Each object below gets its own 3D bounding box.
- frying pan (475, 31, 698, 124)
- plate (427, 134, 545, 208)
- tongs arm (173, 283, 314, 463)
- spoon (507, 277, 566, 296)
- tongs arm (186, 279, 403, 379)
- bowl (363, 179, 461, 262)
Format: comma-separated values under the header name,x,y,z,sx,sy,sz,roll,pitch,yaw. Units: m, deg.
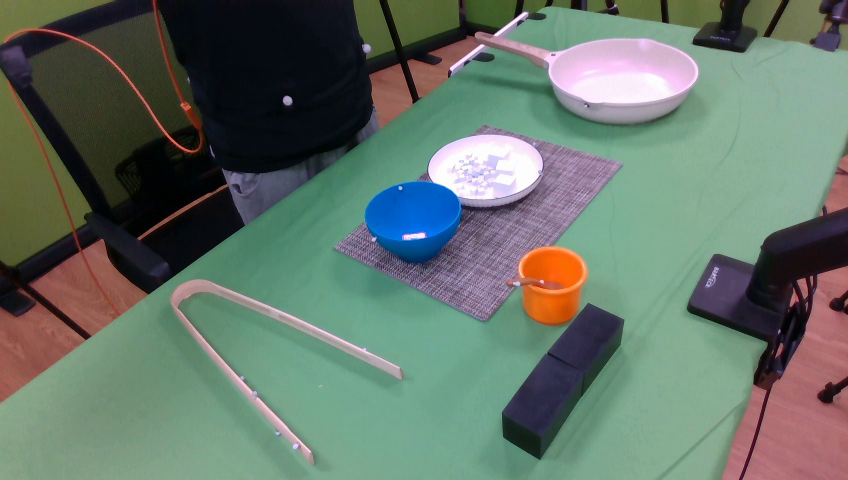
name,x,y,z,sx,sy,sz,roll,pitch,yaw
frying pan,0.320,-0.371,1.290,0.485,0.103,0.307,28,50,23
plate,0.110,-0.119,1.073,0.207,0.039,0.206,-4,41,4
tongs arm,-0.246,0.161,0.806,0.381,0.026,0.051,29,51,36
spoon,0.143,0.058,0.783,0.041,0.195,0.021,15,89,29
tongs arm,-0.193,0.120,0.853,0.385,0.028,0.028,18,49,27
bowl,-0.014,-0.020,0.943,0.151,0.077,0.150,-4,41,4
